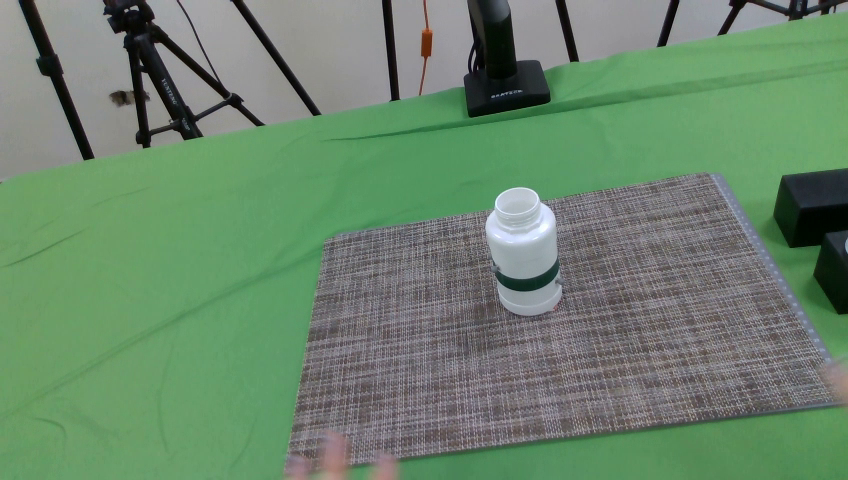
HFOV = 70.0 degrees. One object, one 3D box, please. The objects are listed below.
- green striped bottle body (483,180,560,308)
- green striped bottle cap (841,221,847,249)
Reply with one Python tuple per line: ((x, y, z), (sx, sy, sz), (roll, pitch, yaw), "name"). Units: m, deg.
((0.091, 0.003, 0.561), (0.063, 0.120, 0.062), (-9, 42, 8), "green striped bottle body")
((0.367, -0.005, 0.492), (0.044, 0.020, 0.044), (-6, 43, 6), "green striped bottle cap")
